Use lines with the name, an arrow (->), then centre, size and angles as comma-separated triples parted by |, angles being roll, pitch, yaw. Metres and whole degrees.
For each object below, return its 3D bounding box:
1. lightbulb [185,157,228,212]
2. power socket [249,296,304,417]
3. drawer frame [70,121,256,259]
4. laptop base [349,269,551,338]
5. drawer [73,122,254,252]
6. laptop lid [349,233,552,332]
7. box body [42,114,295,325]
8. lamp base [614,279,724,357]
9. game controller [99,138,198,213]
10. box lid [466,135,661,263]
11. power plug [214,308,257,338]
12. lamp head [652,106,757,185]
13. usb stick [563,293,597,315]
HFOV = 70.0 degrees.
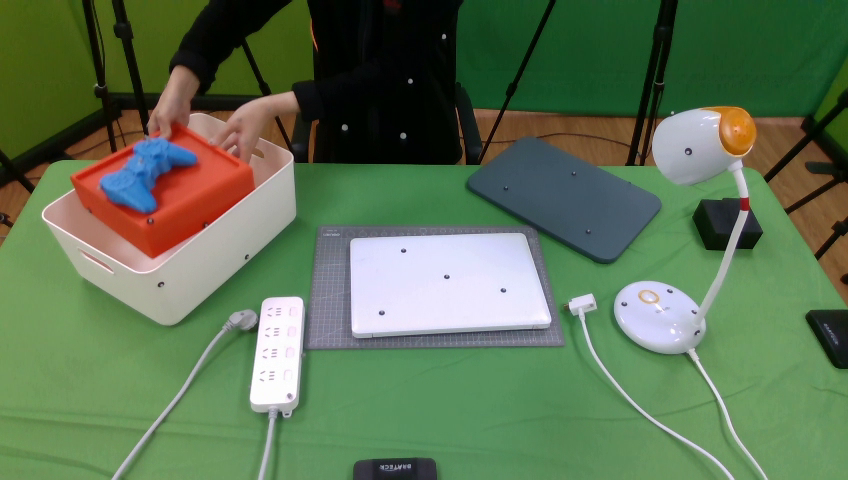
lightbulb -> -0.379, -0.094, 1.043 | 0.059, 0.060, 0.107 | 13, 61, 8
power socket -> -0.239, 0.182, 0.996 | 0.072, 0.033, 0.225 | -2, 47, -5
drawer frame -> -0.432, -0.092, 1.026 | 0.201, 0.083, 0.213 | 30, 50, 22
laptop base -> 0.039, 0.080, 1.125 | 0.355, 0.023, 0.234 | -2, 43, -6
drawer -> -0.432, -0.095, 1.024 | 0.194, 0.073, 0.211 | 32, 48, 21
laptop lid -> 0.040, 0.070, 1.119 | 0.357, 0.013, 0.240 | -1, 44, -5
box body -> -0.437, -0.046, 1.110 | 0.253, 0.161, 0.363 | 24, 49, 19
lamp base -> 0.436, 0.090, 1.034 | 0.161, 0.181, 0.178 | -23, 55, -23
game controller -> -0.443, -0.112, 0.971 | 0.097, 0.052, 0.154 | 9, 44, 11
box lid -> 0.306, -0.102, 1.327 | 0.370, 0.015, 0.263 | 32, 52, 25
power plug -> -0.318, 0.142, 1.024 | 0.072, 0.053, 0.035 | -31, 58, -9
lamp head -> 0.410, -0.139, 0.869 | 0.113, 0.122, 0.112 | 0, 89, -19
usb stick -> 0.280, 0.118, 1.092 | 0.059, 0.021, 0.027 | -18, 35, 25
